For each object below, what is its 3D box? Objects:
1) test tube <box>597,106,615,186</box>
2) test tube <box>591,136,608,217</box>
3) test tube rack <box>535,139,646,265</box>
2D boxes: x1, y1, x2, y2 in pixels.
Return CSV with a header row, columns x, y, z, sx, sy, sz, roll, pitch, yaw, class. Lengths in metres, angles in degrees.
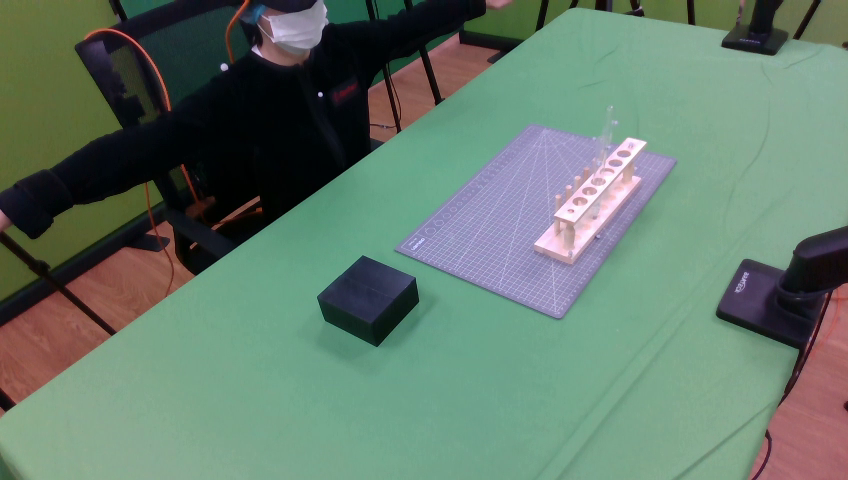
x,y,z,sx,sy,sz,roll,pitch,yaw,class
0.295,-0.150,0.984,0.017,0.151,0.017,-4,41,4,test tube
0.264,-0.092,0.912,0.017,0.151,0.017,-5,44,6,test tube
0.269,-0.071,0.964,0.066,0.085,0.243,23,49,32,test tube rack
